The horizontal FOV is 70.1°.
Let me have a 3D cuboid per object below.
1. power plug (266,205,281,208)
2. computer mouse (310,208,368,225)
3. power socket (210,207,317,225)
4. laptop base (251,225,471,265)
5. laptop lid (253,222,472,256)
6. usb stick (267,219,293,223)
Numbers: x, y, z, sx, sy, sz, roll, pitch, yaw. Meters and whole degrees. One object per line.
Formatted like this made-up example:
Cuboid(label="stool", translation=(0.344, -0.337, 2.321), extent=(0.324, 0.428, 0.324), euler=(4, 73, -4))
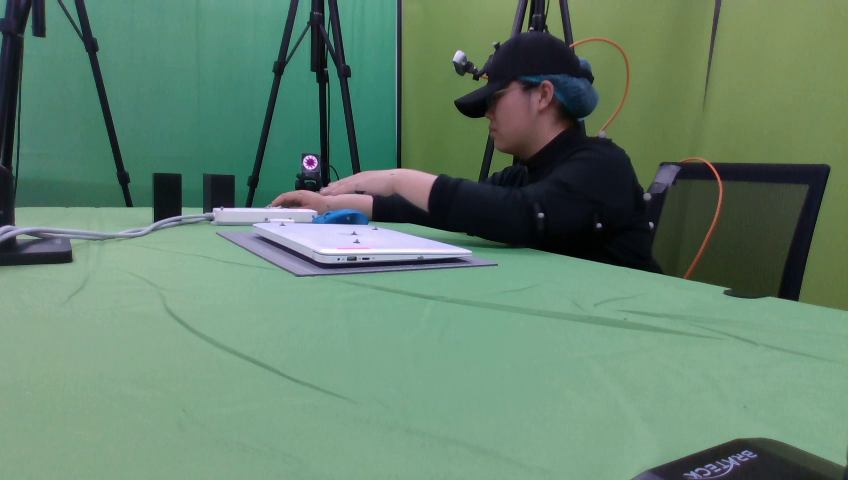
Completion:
Cuboid(label="power plug", translation=(-0.344, -0.055, 1.365), extent=(0.053, 0.035, 0.072), euler=(-21, -14, -15))
Cuboid(label="computer mouse", translation=(-0.179, -0.044, 1.275), extent=(0.118, 0.041, 0.062), euler=(-6, 13, -29))
Cuboid(label="power socket", translation=(-0.335, -0.051, 1.282), extent=(0.228, 0.032, 0.072), euler=(-1, 9, -28))
Cuboid(label="laptop base", translation=(-0.116, 0.007, 0.955), extent=(0.237, 0.023, 0.352), euler=(2, 6, -30))
Cuboid(label="laptop lid", translation=(-0.113, -0.005, 0.955), extent=(0.243, 0.013, 0.355), euler=(1, 7, -29))
Cuboid(label="usb stick", translation=(-0.272, -0.026, 1.108), extent=(0.059, 0.027, 0.021), euler=(-4, 11, -27))
